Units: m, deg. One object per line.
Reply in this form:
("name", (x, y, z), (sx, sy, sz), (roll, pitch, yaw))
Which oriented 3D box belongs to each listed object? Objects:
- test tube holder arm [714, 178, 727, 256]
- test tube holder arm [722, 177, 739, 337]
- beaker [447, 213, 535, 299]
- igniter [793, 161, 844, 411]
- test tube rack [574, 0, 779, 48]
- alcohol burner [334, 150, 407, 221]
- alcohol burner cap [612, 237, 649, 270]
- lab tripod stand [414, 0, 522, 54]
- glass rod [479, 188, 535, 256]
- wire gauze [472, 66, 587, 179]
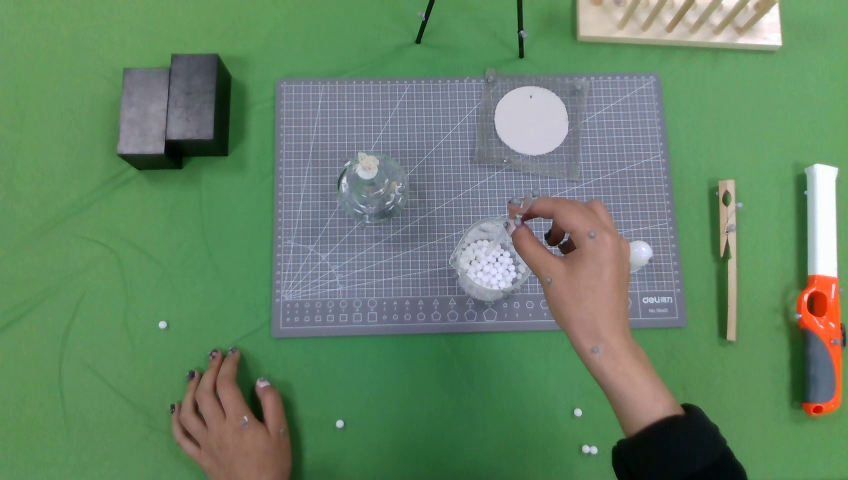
("test tube holder arm", (0.335, -0.026, 0.682), (0.010, 0.015, 0.087), (-6, 77, 35))
("test tube holder arm", (0.338, 0.018, 0.670), (0.013, 0.015, 0.177), (-7, 76, 35))
("beaker", (0.064, 0.022, 0.620), (0.084, 0.100, 0.073), (-9, 78, -2))
("igniter", (0.432, 0.048, 0.663), (0.057, 0.025, 0.275), (9, 79, -10))
("test tube rack", (0.304, -0.277, 0.695), (0.242, 0.085, 0.066), (2, 78, -1))
("alcohol burner", (-0.057, -0.062, 0.626), (0.078, 0.119, 0.077), (0, 77, 1))
("alcohol burner cap", (0.226, 0.013, 0.655), (0.034, 0.048, 0.033), (0, 78, -1))
("lab tripod stand", (0.058, -0.277, 0.665), (0.148, 0.132, 0.148), (0, 80, -1))
("glass rod", (0.068, -0.011, 0.531), (0.008, 0.200, 0.008), (1, 76, -5))
("wire gauze", (0.123, -0.139, 0.700), (0.125, 0.011, 0.121), (10, 80, 0))
